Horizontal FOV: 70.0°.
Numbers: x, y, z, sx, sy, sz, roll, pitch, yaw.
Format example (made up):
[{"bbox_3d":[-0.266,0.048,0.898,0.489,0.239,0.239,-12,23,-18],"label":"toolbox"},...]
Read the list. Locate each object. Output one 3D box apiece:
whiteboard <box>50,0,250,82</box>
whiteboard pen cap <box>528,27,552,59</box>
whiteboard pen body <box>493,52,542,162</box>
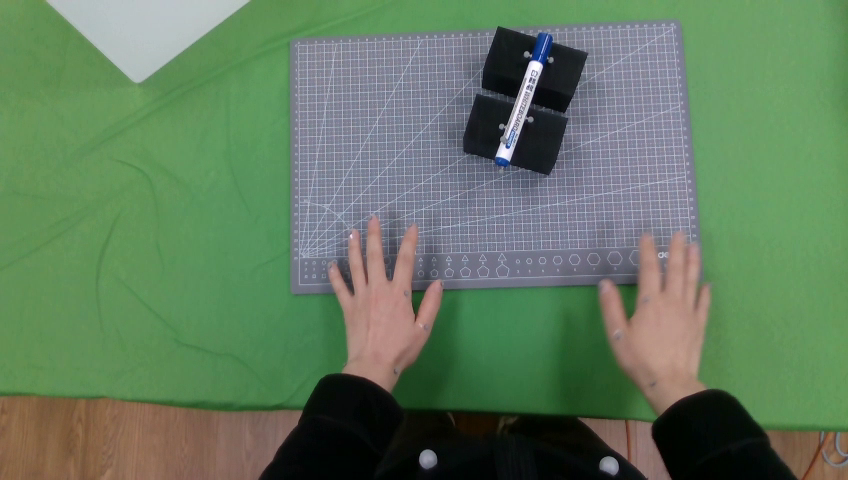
[{"bbox_3d":[-0.329,-0.360,0.614,0.217,0.308,0.142,-37,62,-2],"label":"whiteboard"},{"bbox_3d":[0.120,-0.204,0.633,0.018,0.018,0.033,19,86,5],"label":"whiteboard pen cap"},{"bbox_3d":[0.101,-0.148,0.627,0.017,0.017,0.140,20,86,6],"label":"whiteboard pen body"}]
